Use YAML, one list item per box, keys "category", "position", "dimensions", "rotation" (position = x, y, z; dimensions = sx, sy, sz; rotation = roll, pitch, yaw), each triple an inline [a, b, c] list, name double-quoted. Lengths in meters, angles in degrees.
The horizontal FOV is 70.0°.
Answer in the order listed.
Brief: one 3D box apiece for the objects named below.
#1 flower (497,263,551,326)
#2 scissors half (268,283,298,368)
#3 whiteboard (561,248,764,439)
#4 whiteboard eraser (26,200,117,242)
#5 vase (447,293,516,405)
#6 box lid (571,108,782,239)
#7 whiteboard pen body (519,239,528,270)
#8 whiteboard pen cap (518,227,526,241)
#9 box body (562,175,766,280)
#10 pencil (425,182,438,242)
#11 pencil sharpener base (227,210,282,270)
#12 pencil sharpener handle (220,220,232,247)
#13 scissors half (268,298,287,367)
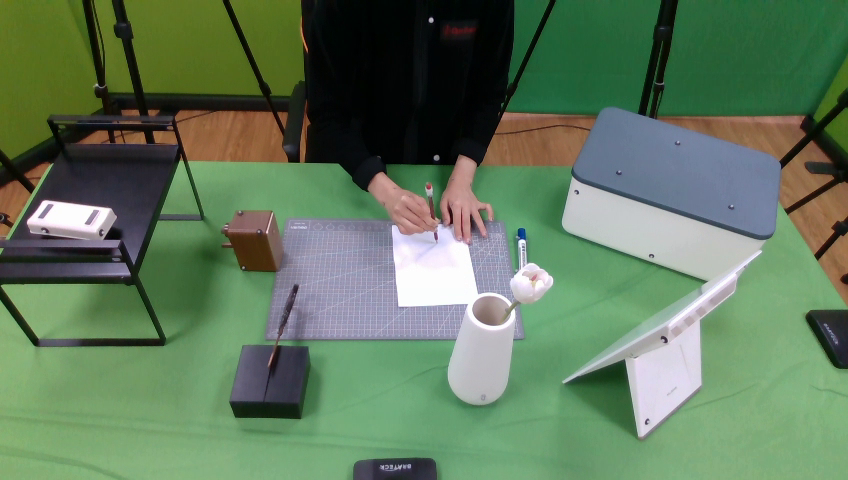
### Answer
- category: "flower"
  position: [0.102, 0.121, 0.853]
  dimensions: [0.044, 0.363, 0.038]
  rotation: [-2, 64, -10]
- category: "scissors half"
  position: [-0.230, 0.135, 0.986]
  dimensions: [0.013, 0.040, 0.174]
  rotation: [19, 43, -11]
- category: "whiteboard"
  position: [0.386, 0.176, 0.905]
  dimensions: [0.217, 0.306, 0.143]
  rotation: [-26, 72, -26]
- category: "whiteboard eraser"
  position: [-0.532, -0.026, 0.919]
  dimensions: [0.113, 0.042, 0.055]
  rotation: [7, 45, 3]
- category: "vase"
  position: [0.091, 0.169, 0.921]
  dimensions: [0.098, 0.201, 0.097]
  rotation: [3, 47, -3]
- category: "box lid"
  position: [0.491, -0.139, 1.168]
  dimensions: [0.370, 0.015, 0.262]
  rotation: [21, 49, 15]
- category: "whiteboard pen body"
  position: [0.193, 0.035, 1.181]
  dimensions: [0.017, 0.017, 0.140]
  rotation: [6, 48, 1]
- category: "whiteboard pen cap"
  position: [0.197, -0.009, 1.220]
  dimensions: [0.018, 0.018, 0.033]
  rotation: [6, 51, 1]
- category: "box body"
  position: [0.486, -0.088, 1.222]
  dimensions: [0.363, 0.161, 0.253]
  rotation: [20, 48, 15]
- category: "pencil"
  position: [0.016, -0.046, 1.121]
  dimensions: [0.012, 0.195, 0.012]
  rotation: [-3, 58, 5]
- category: "pencil sharpener base"
  position: [-0.311, 0.001, 1.112]
  dimensions: [0.077, 0.107, 0.061]
  rotation: [1, 47, 1]
- category: "pencil sharpener handle"
  position: [-0.362, -0.009, 1.105]
  dimensions: [0.030, 0.068, 0.036]
  rotation: [1, 52, 1]
- category: "scissors half"
  position: [-0.239, 0.150, 0.997]
  dimensions: [0.013, 0.040, 0.174]
  rotation: [24, 24, -14]
